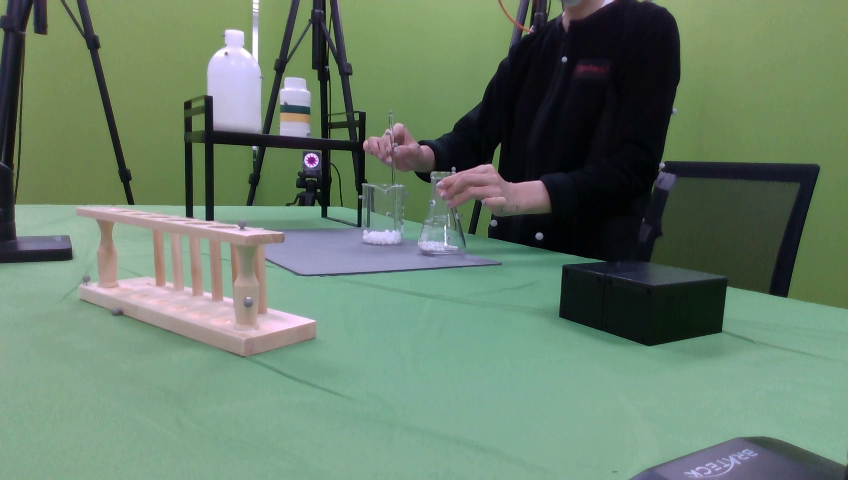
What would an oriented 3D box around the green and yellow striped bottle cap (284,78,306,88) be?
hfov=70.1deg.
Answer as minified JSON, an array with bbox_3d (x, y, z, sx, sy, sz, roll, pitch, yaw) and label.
[{"bbox_3d":[-0.268,-0.325,1.259,0.045,0.020,0.045,5,8,0],"label":"green and yellow striped bottle cap"}]

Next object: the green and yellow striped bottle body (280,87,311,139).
[{"bbox_3d":[-0.269,-0.274,1.266,0.063,0.119,0.063,3,7,0],"label":"green and yellow striped bottle body"}]

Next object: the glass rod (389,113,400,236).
[{"bbox_3d":[-0.048,-0.105,0.983,0.008,0.199,0.008,-3,7,1],"label":"glass rod"}]

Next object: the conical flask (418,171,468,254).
[{"bbox_3d":[0.029,-0.041,0.898,0.075,0.122,0.075,0,5,0],"label":"conical flask"}]

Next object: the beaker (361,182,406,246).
[{"bbox_3d":[-0.067,-0.042,0.993,0.074,0.100,0.084,1,8,-8],"label":"beaker"}]

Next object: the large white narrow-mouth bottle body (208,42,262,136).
[{"bbox_3d":[-0.368,-0.304,1.181,0.102,0.194,0.101,2,9,0],"label":"large white narrow-mouth bottle body"}]

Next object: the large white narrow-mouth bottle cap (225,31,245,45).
[{"bbox_3d":[-0.365,-0.389,1.166,0.038,0.024,0.037,2,9,0],"label":"large white narrow-mouth bottle cap"}]

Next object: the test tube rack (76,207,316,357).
[{"bbox_3d":[-0.196,0.023,0.500,0.241,0.085,0.067,8,9,36],"label":"test tube rack"}]
